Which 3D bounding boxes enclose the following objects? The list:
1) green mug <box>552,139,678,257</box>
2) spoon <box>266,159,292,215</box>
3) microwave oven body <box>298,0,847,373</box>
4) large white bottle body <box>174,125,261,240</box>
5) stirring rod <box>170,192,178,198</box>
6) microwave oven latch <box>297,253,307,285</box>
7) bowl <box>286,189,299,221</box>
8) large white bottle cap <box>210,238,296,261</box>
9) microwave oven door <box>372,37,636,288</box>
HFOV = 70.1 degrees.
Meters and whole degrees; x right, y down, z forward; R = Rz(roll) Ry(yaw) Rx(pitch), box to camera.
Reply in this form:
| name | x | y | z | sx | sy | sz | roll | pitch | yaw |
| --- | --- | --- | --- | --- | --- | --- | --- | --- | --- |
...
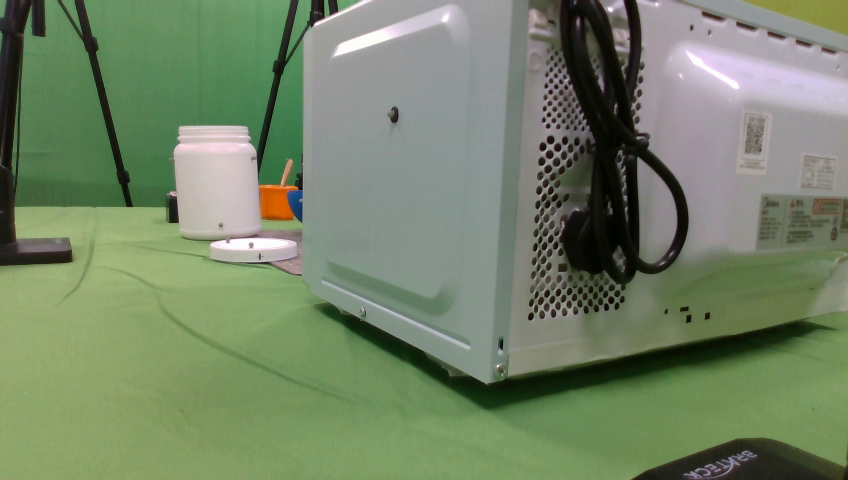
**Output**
| name | x | y | z | sx | sy | sz | roll | pitch | yaw |
| --- | --- | --- | --- | --- | --- | --- | --- | --- | --- |
| green mug | 0.178 | -0.037 | 0.582 | 0.124 | 0.105 | 0.093 | 1 | 1 | 44 |
| spoon | -0.334 | -0.127 | 1.423 | 0.041 | 0.193 | 0.021 | 0 | -37 | 6 |
| microwave oven body | 0.151 | -0.055 | 0.543 | 0.444 | 0.260 | 0.324 | -1 | 7 | -33 |
| large white bottle body | -0.349 | -0.100 | 1.024 | 0.131 | 0.184 | 0.130 | -1 | 9 | 0 |
| stirring rod | -0.465 | -0.098 | 1.283 | 0.014 | 0.006 | 0.177 | 42 | 21 | 17 |
| microwave oven latch | -0.082 | 0.027 | 0.582 | 0.079 | 0.029 | 0.030 | -1 | 7 | -33 |
| bowl | -0.179 | -0.051 | 1.115 | 0.151 | 0.077 | 0.151 | 3 | 8 | 0 |
| large white bottle cap | -0.236 | 0.012 | 0.839 | 0.115 | 0.018 | 0.115 | 2 | 7 | 0 |
| microwave oven door | 0.109 | -0.080 | 0.686 | 0.358 | 0.243 | 0.039 | -2 | 9 | -33 |
